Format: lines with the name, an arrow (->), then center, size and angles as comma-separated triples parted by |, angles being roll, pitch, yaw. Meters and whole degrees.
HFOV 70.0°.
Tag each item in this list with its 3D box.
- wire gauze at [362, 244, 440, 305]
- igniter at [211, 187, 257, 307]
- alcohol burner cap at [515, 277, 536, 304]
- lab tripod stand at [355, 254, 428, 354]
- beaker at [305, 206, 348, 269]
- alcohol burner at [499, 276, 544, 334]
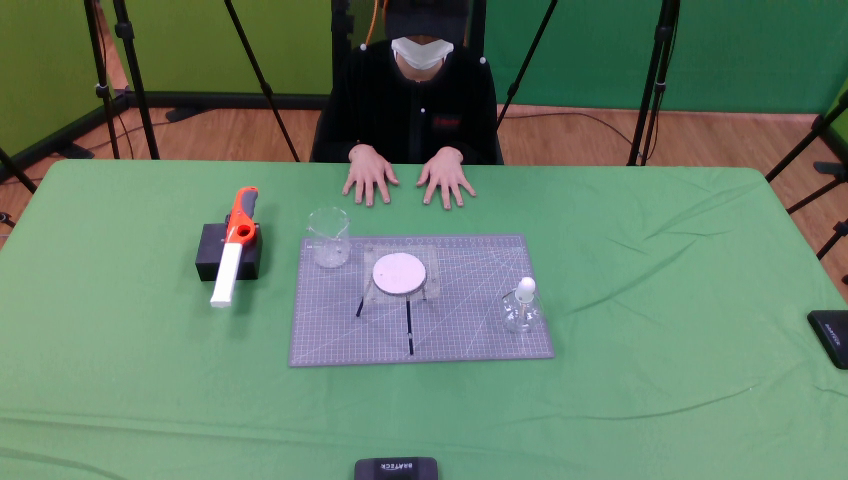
wire gauze -> -0.038, 0.051, 0.971 | 0.121, 0.011, 0.124 | -1, 46, -4
igniter -> -0.343, 0.003, 1.100 | 0.057, 0.025, 0.274 | 2, 49, -4
alcohol burner cap -> 0.171, 0.082, 1.015 | 0.034, 0.048, 0.033 | 1, 52, 0
lab tripod stand -> -0.046, 0.100, 1.017 | 0.148, 0.132, 0.147 | 1, 47, -1
beaker -> -0.177, 0.001, 1.126 | 0.074, 0.101, 0.083 | -14, 49, -16
alcohol burner -> 0.170, 0.106, 1.041 | 0.078, 0.120, 0.077 | 1, 44, -1
